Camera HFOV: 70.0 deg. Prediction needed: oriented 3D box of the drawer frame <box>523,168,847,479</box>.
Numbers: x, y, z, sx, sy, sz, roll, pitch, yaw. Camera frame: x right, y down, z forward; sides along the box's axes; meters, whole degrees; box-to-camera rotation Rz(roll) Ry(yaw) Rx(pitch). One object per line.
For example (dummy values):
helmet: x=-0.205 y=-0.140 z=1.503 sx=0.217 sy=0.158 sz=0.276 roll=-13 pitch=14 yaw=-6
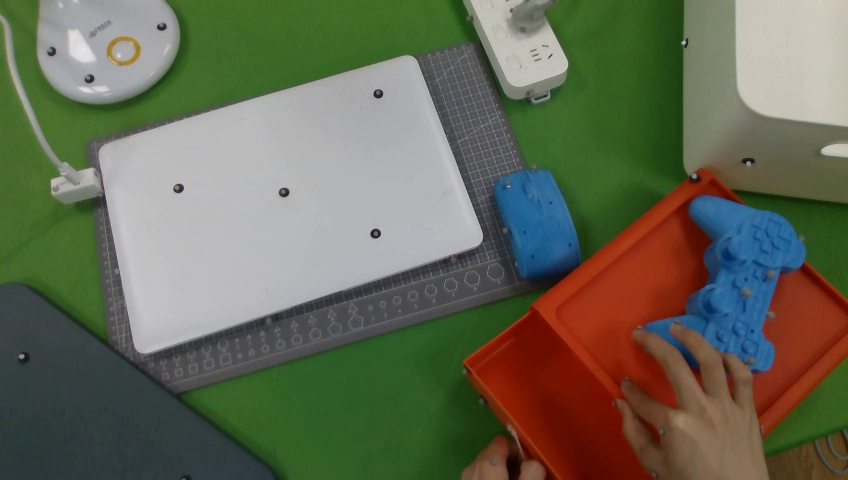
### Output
drawer frame: x=0.233 y=0.077 z=0.544 sx=0.213 sy=0.083 sz=0.200 roll=-38 pitch=73 yaw=-11

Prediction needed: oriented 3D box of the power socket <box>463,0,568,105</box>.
power socket: x=0.093 y=-0.256 z=0.688 sx=0.072 sy=0.033 sz=0.225 roll=-18 pitch=71 yaw=-6

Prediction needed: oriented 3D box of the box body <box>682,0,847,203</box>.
box body: x=0.403 y=-0.226 z=0.599 sx=0.254 sy=0.161 sz=0.362 roll=7 pitch=72 yaw=4

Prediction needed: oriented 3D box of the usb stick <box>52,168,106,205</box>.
usb stick: x=-0.349 y=-0.057 z=0.627 sx=0.059 sy=0.027 sz=0.021 roll=-13 pitch=65 yaw=-6

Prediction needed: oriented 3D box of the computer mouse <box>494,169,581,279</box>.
computer mouse: x=0.112 y=-0.019 z=0.601 sx=0.063 sy=0.041 sz=0.116 roll=-13 pitch=67 yaw=-1

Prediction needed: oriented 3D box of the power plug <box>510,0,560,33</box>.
power plug: x=0.130 y=-0.244 z=0.658 sx=0.072 sy=0.053 sz=0.035 roll=-8 pitch=70 yaw=-2

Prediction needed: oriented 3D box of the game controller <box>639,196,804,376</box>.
game controller: x=0.251 y=0.038 z=0.503 sx=0.097 sy=0.052 sz=0.154 roll=25 pitch=75 yaw=6

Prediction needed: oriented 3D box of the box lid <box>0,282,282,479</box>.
box lid: x=-0.340 y=0.227 z=0.548 sx=0.370 sy=0.015 sz=0.262 roll=32 pitch=75 yaw=11

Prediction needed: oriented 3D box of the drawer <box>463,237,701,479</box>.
drawer: x=0.173 y=0.124 z=0.531 sx=0.212 sy=0.074 sz=0.193 roll=-37 pitch=73 yaw=-10

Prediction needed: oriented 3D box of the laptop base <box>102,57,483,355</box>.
laptop base: x=-0.141 y=-0.045 z=0.630 sx=0.354 sy=0.023 sz=0.234 roll=-18 pitch=75 yaw=-4

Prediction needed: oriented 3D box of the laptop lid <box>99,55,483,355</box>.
laptop lid: x=-0.141 y=-0.046 z=0.618 sx=0.357 sy=0.013 sz=0.240 roll=-16 pitch=74 yaw=-4

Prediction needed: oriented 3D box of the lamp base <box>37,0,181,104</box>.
lamp base: x=-0.373 y=-0.259 z=0.626 sx=0.178 sy=0.181 sz=0.160 roll=31 pitch=74 yaw=15
